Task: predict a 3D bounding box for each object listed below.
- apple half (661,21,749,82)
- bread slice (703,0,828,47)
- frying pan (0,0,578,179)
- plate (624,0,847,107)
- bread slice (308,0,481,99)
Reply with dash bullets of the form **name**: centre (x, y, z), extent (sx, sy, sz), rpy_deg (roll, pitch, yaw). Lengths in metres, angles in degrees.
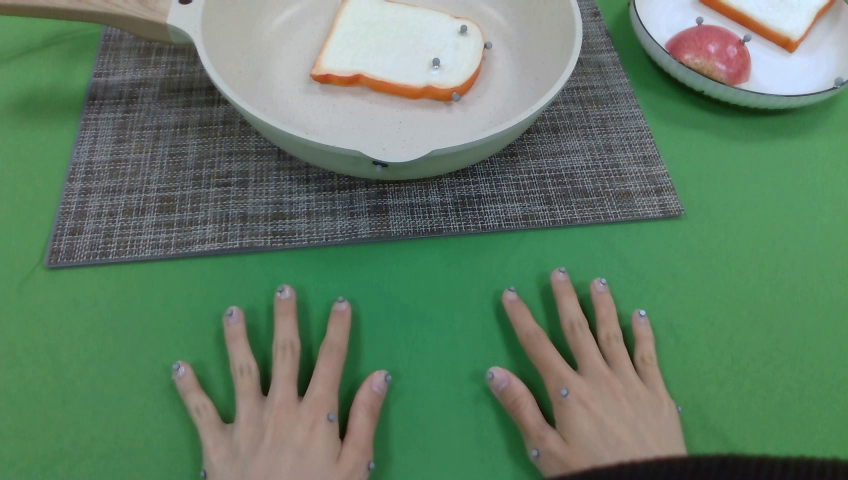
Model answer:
- **apple half**: centre (0.241, -0.163, 0.505), extent (0.081, 0.033, 0.080), rpy_deg (13, 34, -9)
- **bread slice**: centre (0.335, -0.255, 0.567), extent (0.104, 0.019, 0.131), rpy_deg (39, 84, 18)
- **frying pan**: centre (-0.131, -0.168, 0.467), extent (0.489, 0.103, 0.304), rpy_deg (4, 56, -10)
- **plate**: centre (0.282, -0.192, 0.549), extent (0.208, 0.039, 0.205), rpy_deg (2, 57, -2)
- **bread slice**: centre (-0.019, -0.164, 0.516), extent (0.134, 0.018, 0.106), rpy_deg (9, 58, 3)
